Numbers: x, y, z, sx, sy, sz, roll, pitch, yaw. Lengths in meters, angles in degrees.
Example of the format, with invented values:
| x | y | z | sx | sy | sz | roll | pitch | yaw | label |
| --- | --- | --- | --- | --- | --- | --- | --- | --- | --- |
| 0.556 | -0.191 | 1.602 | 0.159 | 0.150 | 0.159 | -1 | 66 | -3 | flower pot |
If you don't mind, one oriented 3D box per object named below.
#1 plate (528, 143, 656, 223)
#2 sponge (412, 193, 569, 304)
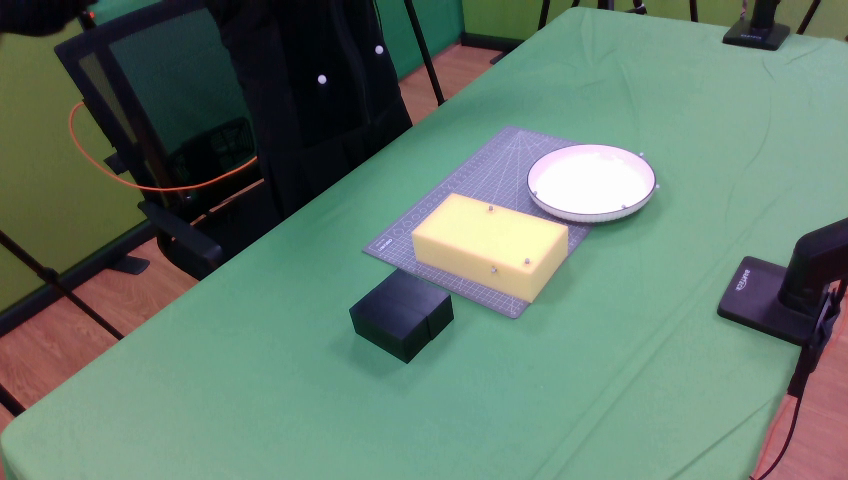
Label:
| x | y | z | sx | sy | sz | roll | pitch | yaw | label |
| --- | --- | --- | --- | --- | --- | --- | --- | --- | --- |
| 0.281 | -0.093 | 1.023 | 0.209 | 0.038 | 0.208 | -5 | 40 | 5 | plate |
| 0.101 | 0.007 | 0.922 | 0.205 | 0.061 | 0.118 | 19 | 48 | 29 | sponge |
